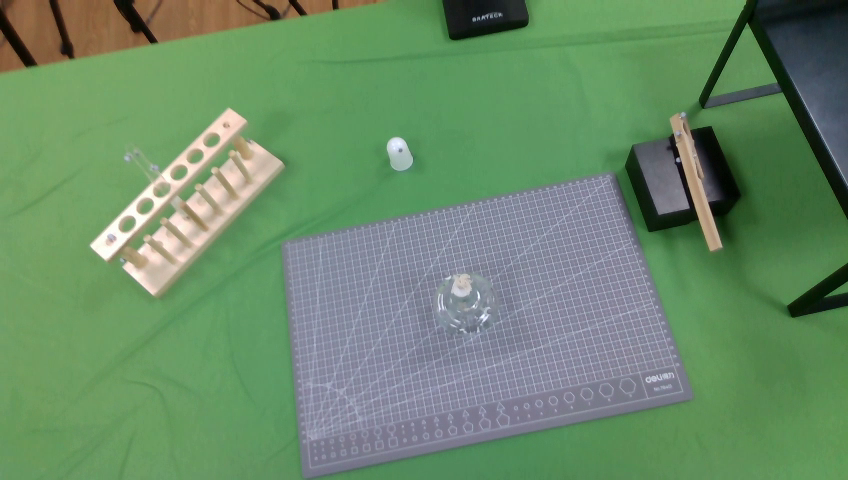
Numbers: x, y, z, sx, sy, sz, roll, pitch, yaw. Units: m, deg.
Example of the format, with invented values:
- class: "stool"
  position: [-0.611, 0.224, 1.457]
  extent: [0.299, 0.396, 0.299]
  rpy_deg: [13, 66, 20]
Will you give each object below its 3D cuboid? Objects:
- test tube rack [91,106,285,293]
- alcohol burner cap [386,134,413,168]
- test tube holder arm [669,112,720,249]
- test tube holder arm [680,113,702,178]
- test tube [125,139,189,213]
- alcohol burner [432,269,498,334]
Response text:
- class: "test tube rack"
  position: [-0.301, -0.053, 0.793]
  extent: [0.066, 0.086, 0.242]
  rpy_deg: [36, 75, 18]
- class: "alcohol burner cap"
  position: [-0.035, -0.123, 0.817]
  extent: [0.034, 0.048, 0.033]
  rpy_deg: [-4, 63, 9]
- class: "test tube holder arm"
  position: [0.318, -0.073, 0.715]
  extent: [0.013, 0.015, 0.177]
  rpy_deg: [7, 64, -26]
- class: "test tube holder arm"
  position: [0.319, -0.113, 0.735]
  extent: [0.010, 0.015, 0.087]
  rpy_deg: [8, 64, -26]
- class: "test tube"
  position: [-0.325, -0.074, 0.750]
  extent: [0.017, 0.151, 0.017]
  rpy_deg: [-2, 63, 4]
- class: "alcohol burner"
  position: [0.045, 0.064, 0.690]
  extent: [0.078, 0.120, 0.077]
  rpy_deg: [-3, 65, 7]
